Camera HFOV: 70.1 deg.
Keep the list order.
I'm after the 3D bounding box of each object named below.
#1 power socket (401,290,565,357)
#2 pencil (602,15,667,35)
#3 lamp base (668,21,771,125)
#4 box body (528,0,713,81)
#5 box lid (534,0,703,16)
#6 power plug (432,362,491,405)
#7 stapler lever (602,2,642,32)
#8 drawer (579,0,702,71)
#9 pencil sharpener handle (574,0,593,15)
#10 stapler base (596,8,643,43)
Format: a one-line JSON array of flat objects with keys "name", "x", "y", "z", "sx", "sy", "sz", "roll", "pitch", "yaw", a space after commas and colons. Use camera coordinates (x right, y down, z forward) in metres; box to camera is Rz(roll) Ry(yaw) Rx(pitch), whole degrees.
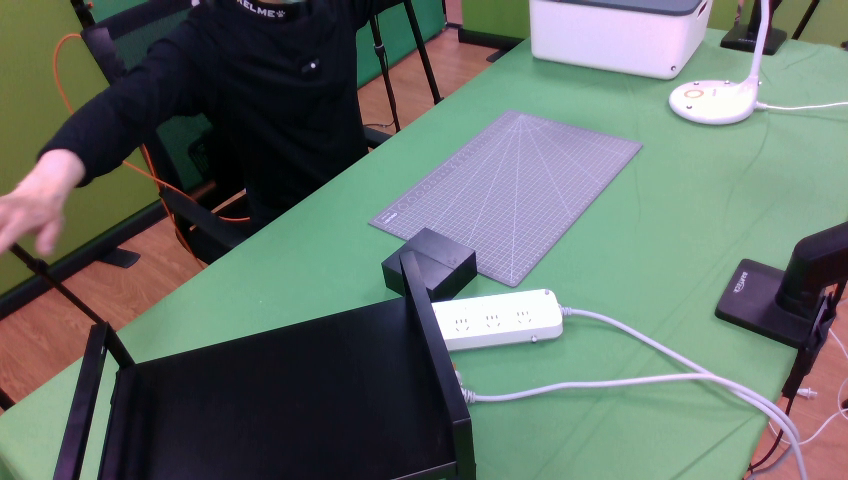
[{"name": "power socket", "x": 0.080, "y": 0.112, "z": 0.822, "sx": 0.227, "sy": 0.033, "sz": 0.072, "roll": -7, "pitch": 41, "yaw": 0}, {"name": "pencil", "x": 0.484, "y": -0.494, "z": 1.390, "sx": 0.195, "sy": 0.012, "sz": 0.012, "roll": -21, "pitch": 42, "yaw": -20}, {"name": "lamp base", "x": 0.577, "y": -0.333, "z": 1.155, "sx": 0.179, "sy": 0.181, "sz": 0.160, "roll": 6, "pitch": 42, "yaw": 12}, {"name": "box body", "x": 0.450, "y": -0.512, "z": 1.398, "sx": 0.361, "sy": 0.161, "sz": 0.254, "roll": 19, "pitch": 48, "yaw": 28}, {"name": "box lid", "x": 0.440, "y": -0.569, "z": 1.350, "sx": 0.369, "sy": 0.015, "sz": 0.264, "roll": 19, "pitch": 47, "yaw": 28}, {"name": "power plug", "x": 0.045, "y": 0.182, "z": 0.758, "sx": 0.073, "sy": 0.035, "sz": 0.052, "roll": 21, "pitch": 43, "yaw": -18}, {"name": "stapler lever", "x": 0.452, "y": -0.517, "z": 1.380, "sx": 0.118, "sy": 0.040, "sz": 0.026, "roll": -39, "pitch": 61, "yaw": -19}, {"name": "drawer", "x": 0.485, "y": -0.489, "z": 1.363, "sx": 0.210, "sy": 0.073, "sz": 0.194, "roll": 24, "pitch": 62, "yaw": 22}, {"name": "pencil sharpener handle", "x": 0.399, "y": -0.594, "z": 1.511, "sx": 0.036, "sy": 0.067, "sz": 0.030, "roll": 36, "pitch": 49, "yaw": -4}, {"name": "stapler base", "x": 0.454, "y": -0.502, "z": 1.399, "sx": 0.131, "sy": 0.024, "sz": 0.041, "roll": -38, "pitch": 61, "yaw": -20}]
